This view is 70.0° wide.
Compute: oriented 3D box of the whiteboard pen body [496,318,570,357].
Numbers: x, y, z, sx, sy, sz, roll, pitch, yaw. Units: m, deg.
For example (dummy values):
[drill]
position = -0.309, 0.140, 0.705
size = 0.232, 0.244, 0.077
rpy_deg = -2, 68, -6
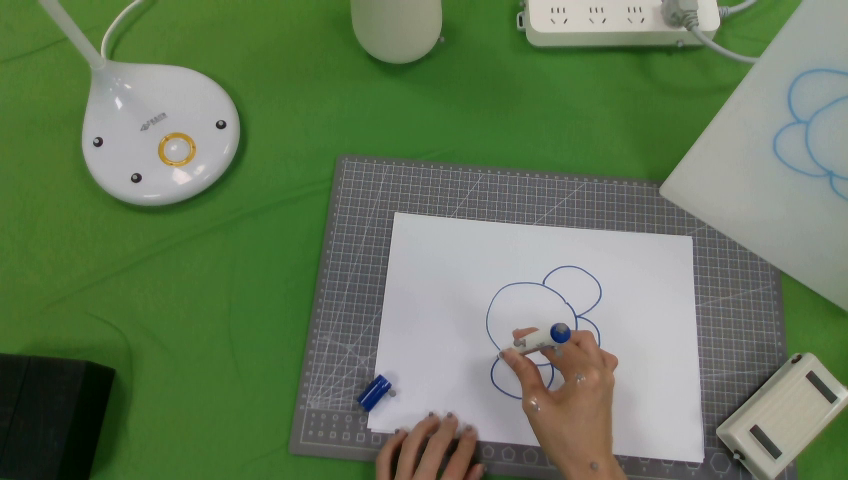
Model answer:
[whiteboard pen body]
position = 0.085, 0.084, 0.503
size = 0.017, 0.141, 0.017
rpy_deg = 4, 72, -12

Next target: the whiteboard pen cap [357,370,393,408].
[whiteboard pen cap]
position = -0.044, 0.135, 0.550
size = 0.018, 0.018, 0.033
rpy_deg = 40, 74, 13

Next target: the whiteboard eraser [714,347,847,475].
[whiteboard eraser]
position = 0.312, 0.148, 0.532
size = 0.112, 0.042, 0.055
rpy_deg = -37, 74, -11

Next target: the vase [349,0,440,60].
[vase]
position = -0.034, -0.268, 0.593
size = 0.098, 0.201, 0.097
rpy_deg = 0, 70, 2

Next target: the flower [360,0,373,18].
[flower]
position = -0.016, -0.285, 0.513
size = 0.044, 0.361, 0.038
rpy_deg = -38, 92, -20

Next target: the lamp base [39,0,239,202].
[lamp base]
position = -0.285, -0.147, 0.562
size = 0.178, 0.181, 0.160
rpy_deg = 37, 75, 15

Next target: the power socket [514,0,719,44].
[power socket]
position = 0.216, -0.256, 0.676
size = 0.227, 0.033, 0.072
rpy_deg = 0, 72, 0

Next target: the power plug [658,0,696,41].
[power plug]
position = 0.266, -0.236, 0.645
size = 0.035, 0.053, 0.072
rpy_deg = 10, 78, 4

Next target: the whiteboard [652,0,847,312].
[whiteboard]
position = 0.389, -0.118, 0.518
size = 0.216, 0.307, 0.143
rpy_deg = 35, 54, 12
